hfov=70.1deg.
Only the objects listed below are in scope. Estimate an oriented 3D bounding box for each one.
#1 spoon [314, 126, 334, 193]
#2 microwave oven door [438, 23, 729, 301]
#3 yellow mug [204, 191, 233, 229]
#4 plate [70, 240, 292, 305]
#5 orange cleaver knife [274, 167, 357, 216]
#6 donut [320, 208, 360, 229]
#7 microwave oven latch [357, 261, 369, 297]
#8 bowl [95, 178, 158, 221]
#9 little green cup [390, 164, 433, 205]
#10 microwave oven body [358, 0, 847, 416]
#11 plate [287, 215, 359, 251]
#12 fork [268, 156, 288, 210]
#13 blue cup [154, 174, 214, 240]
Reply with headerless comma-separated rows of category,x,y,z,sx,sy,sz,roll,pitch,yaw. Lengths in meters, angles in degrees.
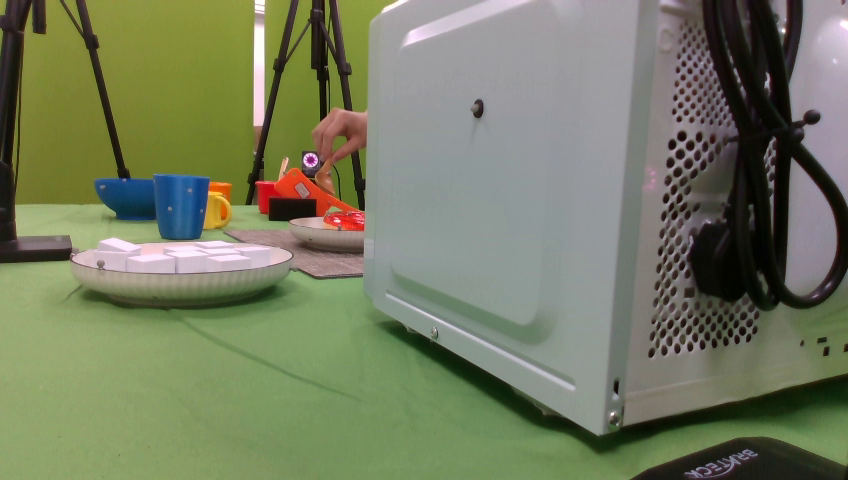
spoon,-0.166,-0.141,1.033,0.042,0.021,0.193,35,32,-31
microwave oven door,0.181,-0.072,0.620,0.358,0.243,0.039,-2,8,-29
yellow mug,-0.415,-0.057,1.132,0.130,0.064,0.100,6,8,16
plate,-0.242,0.031,0.618,0.208,0.039,0.207,2,8,0
orange cleaver knife,-0.238,-0.091,1.381,0.212,0.077,0.012,31,0,-19
donut,-0.115,-0.024,0.961,0.099,0.048,0.099,5,9,0
microwave oven latch,-0.019,0.033,0.531,0.079,0.029,0.030,-1,7,-27
bowl,-0.576,-0.081,1.217,0.151,0.077,0.151,3,8,0
little green cup,-0.017,-0.084,0.930,0.061,0.038,0.061,-37,-8,-5
microwave oven body,0.211,-0.047,0.474,0.444,0.260,0.324,-1,7,-28
plate,-0.111,-0.012,0.960,0.209,0.038,0.209,3,8,0
fork,-0.360,-0.144,1.508,0.028,0.018,0.207,2,49,0
blue cup,-0.390,-0.053,0.978,0.093,0.100,0.092,3,6,0
